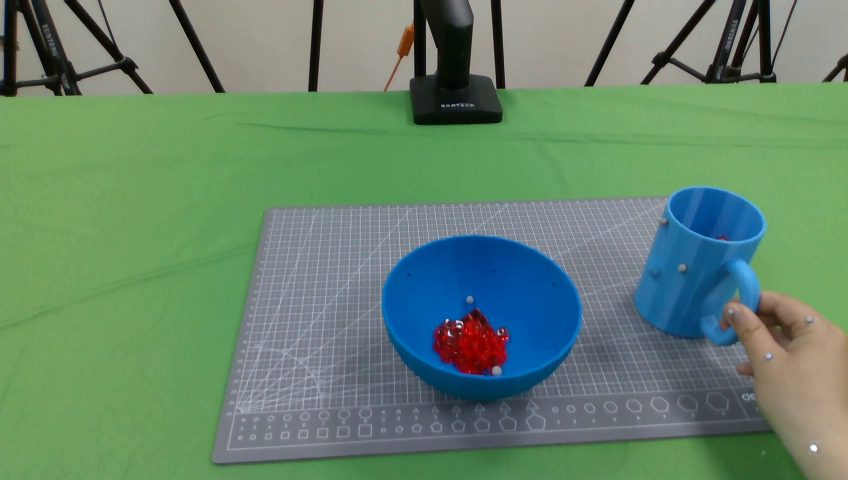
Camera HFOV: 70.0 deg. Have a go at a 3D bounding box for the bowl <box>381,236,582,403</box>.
[{"bbox_3d":[0.041,0.074,0.475,0.151,0.077,0.150,1,40,-1],"label":"bowl"}]

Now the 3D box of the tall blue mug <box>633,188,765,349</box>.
[{"bbox_3d":[0.240,0.030,0.509,0.078,0.109,0.106,-25,47,-29],"label":"tall blue mug"}]
